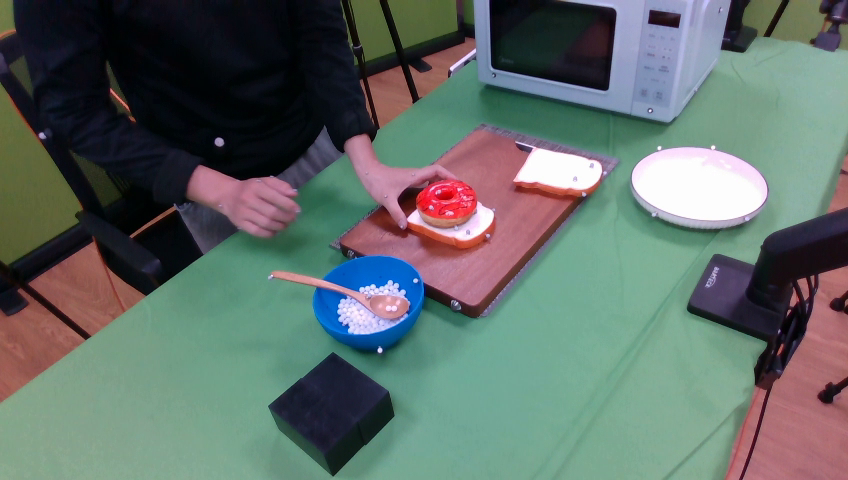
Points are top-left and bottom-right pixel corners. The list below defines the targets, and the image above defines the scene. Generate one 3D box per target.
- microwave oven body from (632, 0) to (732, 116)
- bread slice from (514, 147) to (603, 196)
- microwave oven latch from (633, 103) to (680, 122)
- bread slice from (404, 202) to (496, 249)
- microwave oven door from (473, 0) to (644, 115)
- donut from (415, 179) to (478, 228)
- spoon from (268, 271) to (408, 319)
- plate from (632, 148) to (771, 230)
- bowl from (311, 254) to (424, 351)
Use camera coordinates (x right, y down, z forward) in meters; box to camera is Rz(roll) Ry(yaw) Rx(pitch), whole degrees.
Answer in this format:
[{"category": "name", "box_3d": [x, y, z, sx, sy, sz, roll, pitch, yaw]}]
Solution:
[{"category": "microwave oven body", "box_3d": [0.377, -0.462, 1.267, 0.438, 0.261, 0.327, 21, 49, 30]}, {"category": "bread slice", "box_3d": [0.233, -0.115, 1.026, 0.133, 0.018, 0.107, 13, 45, 20]}, {"category": "microwave oven latch", "box_3d": [0.444, -0.249, 1.157, 0.078, 0.029, 0.030, 21, 49, 30]}, {"category": "bread slice", "box_3d": [0.048, -0.034, 0.961, 0.130, 0.019, 0.105, 22, 50, 32]}, {"category": "microwave oven door", "box_3d": [0.257, -0.396, 1.199, 0.353, 0.245, 0.039, 21, 48, 29]}, {"category": "donut", "box_3d": [0.036, -0.058, 0.944, 0.099, 0.048, 0.098, -5, 40, 4]}, {"category": "spoon", "box_3d": [-0.116, 0.069, 0.813, 0.194, 0.021, 0.041, 18, 39, 1]}, {"category": "plate", "box_3d": [0.447, -0.081, 0.988, 0.207, 0.039, 0.206, -4, 40, 4]}, {"category": "bowl", "box_3d": [-0.071, 0.098, 0.821, 0.151, 0.077, 0.150, -4, 40, 4]}]
